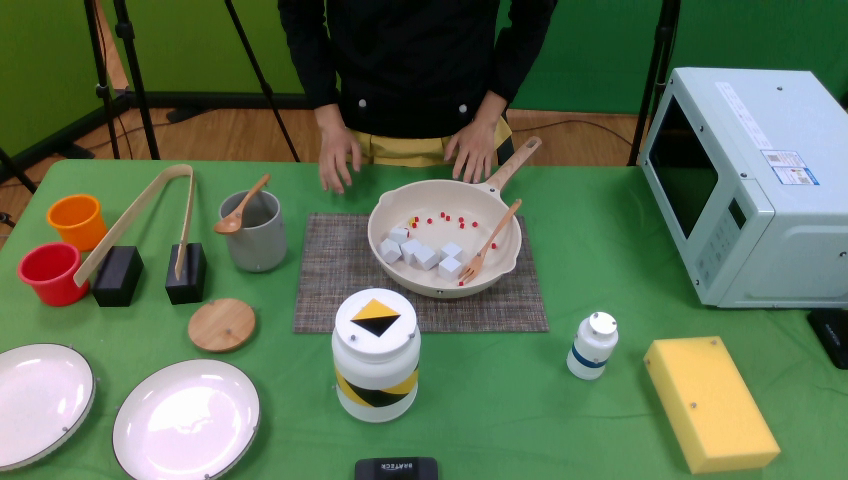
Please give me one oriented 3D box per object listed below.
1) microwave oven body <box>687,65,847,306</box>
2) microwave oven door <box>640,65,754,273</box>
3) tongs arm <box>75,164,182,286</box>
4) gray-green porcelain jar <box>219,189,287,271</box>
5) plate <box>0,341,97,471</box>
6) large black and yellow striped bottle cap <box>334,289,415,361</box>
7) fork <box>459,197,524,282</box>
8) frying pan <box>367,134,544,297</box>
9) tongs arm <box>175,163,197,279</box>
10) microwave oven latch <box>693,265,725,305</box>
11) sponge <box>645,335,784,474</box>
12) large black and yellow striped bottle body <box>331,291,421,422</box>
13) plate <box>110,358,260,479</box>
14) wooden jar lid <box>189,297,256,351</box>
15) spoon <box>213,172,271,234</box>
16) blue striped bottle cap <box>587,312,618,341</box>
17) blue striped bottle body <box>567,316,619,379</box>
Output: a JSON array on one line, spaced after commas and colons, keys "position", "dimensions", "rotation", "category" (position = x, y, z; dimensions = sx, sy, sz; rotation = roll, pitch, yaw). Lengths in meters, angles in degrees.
[{"position": [0.669, -0.111, 1.176], "dimensions": [0.326, 0.261, 0.439], "rotation": [0, 46, -3], "category": "microwave oven body"}, {"position": [0.523, -0.147, 1.193], "dimensions": [0.039, 0.245, 0.353], "rotation": [0, 47, -3], "category": "microwave oven door"}, {"position": [-0.547, -0.043, 1.143], "dimensions": [0.028, 0.028, 0.385], "rotation": [-3, 34, 7], "category": "tongs arm"}, {"position": [-0.309, -0.014, 1.113], "dimensions": [0.106, 0.127, 0.105], "rotation": [2, 46, -2], "category": "gray-green porcelain jar"}, {"position": [-0.599, 0.247, 0.904], "dimensions": [0.209, 0.038, 0.208], "rotation": [2, 47, -2], "category": "plate"}, {"position": [-0.069, 0.117, 0.850], "dimensions": [0.115, 0.019, 0.114], "rotation": [2, 45, -2], "category": "large black and yellow striped bottle cap"}, {"position": [0.132, -0.004, 1.158], "dimensions": [0.028, 0.019, 0.207], "rotation": [28, 75, 30], "category": "fork"}, {"position": [0.104, -0.069, 1.205], "dimensions": [0.305, 0.103, 0.487], "rotation": [32, 61, 23], "category": "frying pan"}, {"position": [-0.462, -0.049, 1.149], "dimensions": [0.051, 0.026, 0.382], "rotation": [-8, 36, -7], "category": "tongs arm"}, {"position": [0.523, 0.082, 1.116], "dimensions": [0.030, 0.029, 0.078], "rotation": [2, 46, -1], "category": "microwave oven latch"}, {"position": [0.449, 0.253, 0.956], "dimensions": [0.118, 0.061, 0.205], "rotation": [-4, 46, -7], "category": "sponge"}, {"position": [-0.071, 0.175, 0.911], "dimensions": [0.131, 0.185, 0.130], "rotation": [2, 47, -2], "category": "large black and yellow striped bottle body"}, {"position": [-0.349, 0.273, 0.899], "dimensions": [0.208, 0.039, 0.206], "rotation": [2, 46, -2], "category": "plate"}, {"position": [-0.342, 0.145, 1.033], "dimensions": [0.108, 0.021, 0.107], "rotation": [3, 45, -2], "category": "wooden jar lid"}, {"position": [-0.312, -0.069, 1.068], "dimensions": [0.041, 0.022, 0.193], "rotation": [10, 43, 10], "category": "spoon"}, {"position": [0.279, 0.134, 0.947], "dimensions": [0.044, 0.021, 0.044], "rotation": [2, 45, -2], "category": "blue striped bottle cap"}, {"position": [0.276, 0.168, 0.984], "dimensions": [0.063, 0.121, 0.062], "rotation": [2, 46, -2], "category": "blue striped bottle body"}]
